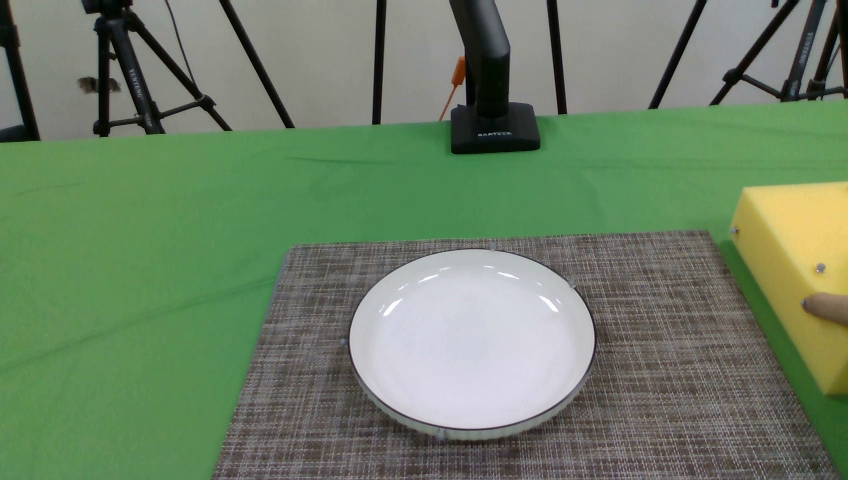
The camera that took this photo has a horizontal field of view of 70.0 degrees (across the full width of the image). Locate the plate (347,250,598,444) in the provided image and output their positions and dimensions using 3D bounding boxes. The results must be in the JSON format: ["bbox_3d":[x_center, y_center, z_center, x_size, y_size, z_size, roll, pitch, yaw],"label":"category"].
[{"bbox_3d":[0.040,0.087,0.517,0.207,0.039,0.205,-3,38,3],"label":"plate"}]

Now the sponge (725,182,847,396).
[{"bbox_3d":[0.369,0.033,0.532,0.118,0.061,0.204,-4,40,1],"label":"sponge"}]
